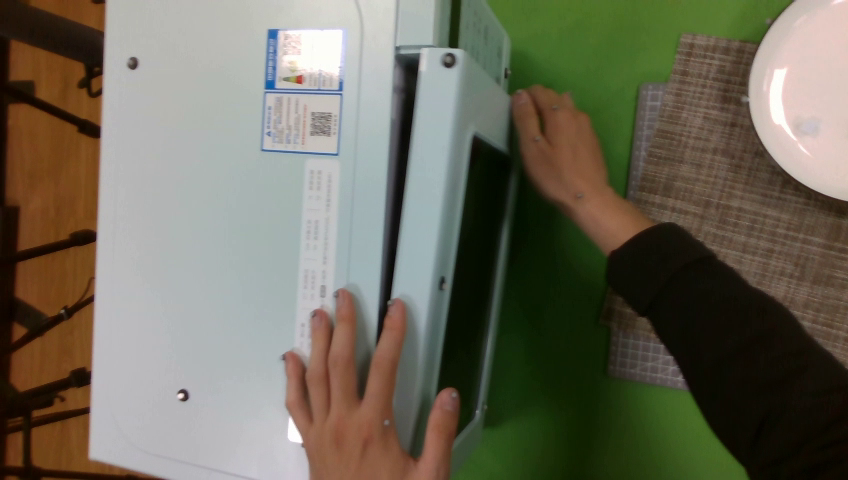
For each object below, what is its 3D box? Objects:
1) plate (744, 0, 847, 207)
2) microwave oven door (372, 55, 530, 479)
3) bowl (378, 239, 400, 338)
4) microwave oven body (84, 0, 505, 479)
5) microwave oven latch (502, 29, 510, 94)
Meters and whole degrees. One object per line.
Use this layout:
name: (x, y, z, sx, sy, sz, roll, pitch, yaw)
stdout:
plate: (0.395, -0.128, 0.529, 0.208, 0.038, 0.209, 0, 90, 19)
microwave oven door: (0.030, 0.045, 0.540, 0.039, 0.245, 0.356, 10, 94, 20)
bowl: (-0.084, 0.043, 0.618, 0.151, 0.077, 0.151, 0, 90, 19)
microwave oven body: (-0.114, -0.011, 0.594, 0.324, 0.261, 0.441, 5, 93, 19)
microwave oven latch: (0.072, -0.175, 0.628, 0.030, 0.029, 0.079, 6, 94, 19)
